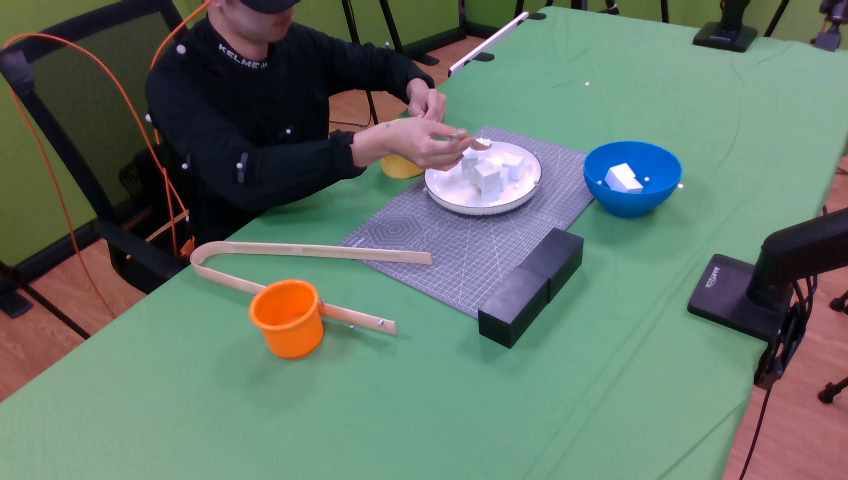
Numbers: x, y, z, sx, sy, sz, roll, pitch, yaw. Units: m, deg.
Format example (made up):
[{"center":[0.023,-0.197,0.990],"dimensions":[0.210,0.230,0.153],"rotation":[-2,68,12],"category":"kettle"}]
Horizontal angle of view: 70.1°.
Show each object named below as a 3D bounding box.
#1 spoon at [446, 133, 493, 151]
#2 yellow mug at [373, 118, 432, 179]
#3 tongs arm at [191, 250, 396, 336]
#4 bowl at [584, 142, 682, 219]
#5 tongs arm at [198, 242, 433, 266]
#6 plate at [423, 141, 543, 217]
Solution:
[{"center":[0.072,-0.163,0.990],"dimensions":[0.041,0.021,0.195],"rotation":[9,4,22],"category":"spoon"},{"center":[-0.030,-0.182,1.140],"dimensions":[0.099,0.064,0.131],"rotation":[25,57,29],"category":"yellow mug"},{"center":[-0.204,0.074,0.902],"dimensions":[0.382,0.026,0.051],"rotation":[11,44,22],"category":"tongs arm"},{"center":[0.333,-0.087,0.980],"dimensions":[0.151,0.077,0.150],"rotation":[-4,40,3],"category":"bowl"},{"center":[-0.176,0.025,0.961],"dimensions":[0.386,0.028,0.028],"rotation":[2,45,12],"category":"tongs arm"},{"center":[0.103,-0.103,1.059],"dimensions":[0.207,0.039,0.206],"rotation":[-4,40,4],"category":"plate"}]
